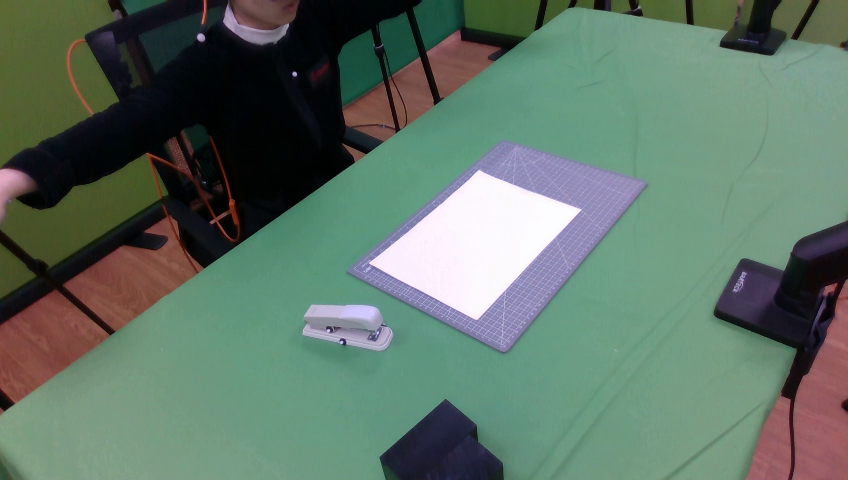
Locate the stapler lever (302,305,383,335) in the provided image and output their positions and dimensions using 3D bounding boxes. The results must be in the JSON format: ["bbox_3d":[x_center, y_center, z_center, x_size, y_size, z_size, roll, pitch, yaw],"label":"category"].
[{"bbox_3d":[-0.113,0.105,0.829,0.117,0.040,0.027,8,41,18],"label":"stapler lever"}]

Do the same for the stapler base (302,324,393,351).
[{"bbox_3d":[-0.109,0.123,0.845,0.130,0.024,0.041,7,40,18],"label":"stapler base"}]
